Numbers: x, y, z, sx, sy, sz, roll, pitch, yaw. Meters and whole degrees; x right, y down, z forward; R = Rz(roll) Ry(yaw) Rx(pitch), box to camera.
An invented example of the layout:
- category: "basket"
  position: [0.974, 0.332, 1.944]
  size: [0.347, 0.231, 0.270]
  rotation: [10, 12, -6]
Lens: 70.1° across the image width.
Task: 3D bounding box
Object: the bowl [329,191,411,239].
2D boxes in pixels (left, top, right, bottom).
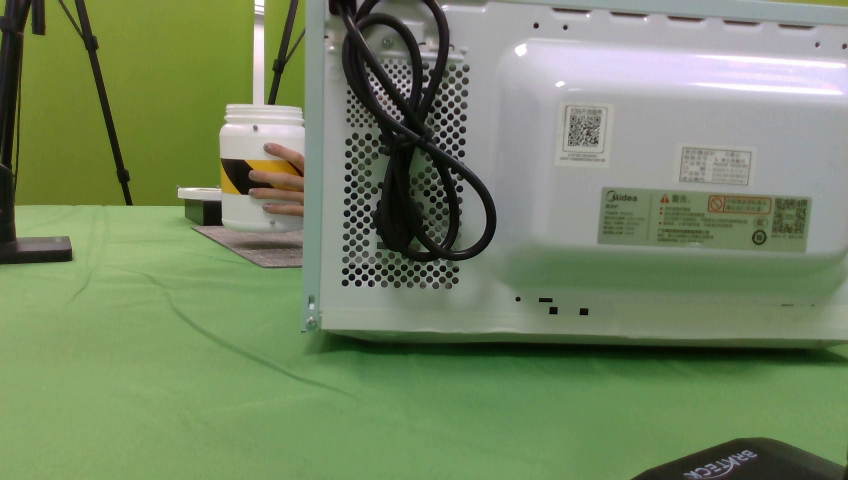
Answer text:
- category: "bowl"
  position: [-0.099, -0.045, 1.104]
  size: [0.151, 0.077, 0.151]
  rotation: [3, 8, 0]

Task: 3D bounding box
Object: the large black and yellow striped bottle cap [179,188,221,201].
- category: "large black and yellow striped bottle cap"
  position: [-0.434, -0.093, 1.226]
  size: [0.115, 0.019, 0.115]
  rotation: [3, 9, 0]

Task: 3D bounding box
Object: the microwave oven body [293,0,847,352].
- category: "microwave oven body"
  position: [0.122, -0.055, 0.550]
  size: [0.442, 0.260, 0.325]
  rotation: [3, 7, -5]

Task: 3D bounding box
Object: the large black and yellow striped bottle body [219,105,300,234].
- category: "large black and yellow striped bottle body"
  position: [-0.241, -0.108, 0.919]
  size: [0.131, 0.184, 0.130]
  rotation: [2, 10, 0]

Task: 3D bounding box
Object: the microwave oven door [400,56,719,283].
- category: "microwave oven door"
  position: [0.155, -0.077, 0.698]
  size: [0.356, 0.243, 0.039]
  rotation: [2, 8, -5]

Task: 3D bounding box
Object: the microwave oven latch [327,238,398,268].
- category: "microwave oven latch"
  position: [-0.069, 0.015, 0.694]
  size: [0.079, 0.029, 0.030]
  rotation: [3, 7, -3]
